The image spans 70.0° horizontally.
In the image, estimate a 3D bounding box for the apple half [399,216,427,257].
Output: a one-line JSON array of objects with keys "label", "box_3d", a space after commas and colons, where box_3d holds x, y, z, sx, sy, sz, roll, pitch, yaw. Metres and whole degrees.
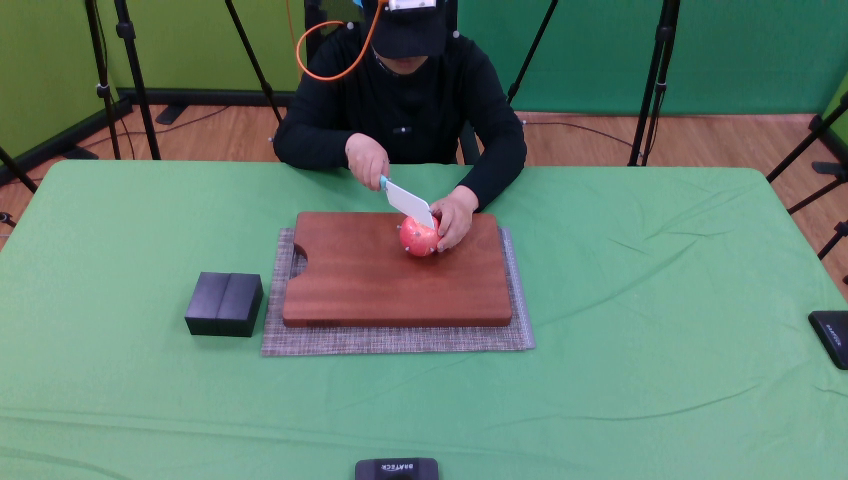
[{"label": "apple half", "box_3d": [-0.027, 0.000, 1.121, 0.033, 0.081, 0.081, -20, 50, -27]}]

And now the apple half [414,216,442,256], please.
[{"label": "apple half", "box_3d": [0.006, -0.013, 1.137, 0.053, 0.075, 0.080, -20, 47, -26]}]

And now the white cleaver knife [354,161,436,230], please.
[{"label": "white cleaver knife", "box_3d": [-0.062, -0.086, 1.144, 0.021, 0.066, 0.284, -24, 34, -23]}]
